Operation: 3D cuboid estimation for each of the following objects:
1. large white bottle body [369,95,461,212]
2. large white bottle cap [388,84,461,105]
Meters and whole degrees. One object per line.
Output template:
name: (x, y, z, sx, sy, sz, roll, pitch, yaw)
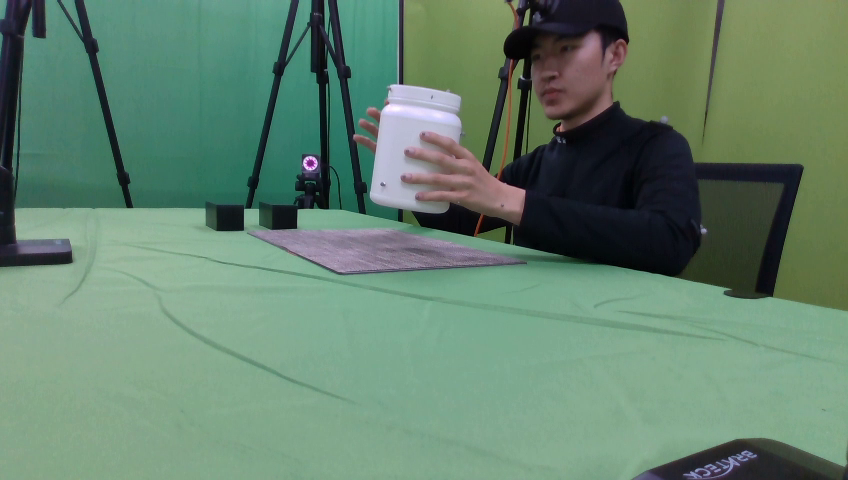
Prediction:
large white bottle body: (-0.012, -0.145, 0.962, 0.131, 0.184, 0.130, 8, 9, -1)
large white bottle cap: (0.000, -0.227, 0.949, 0.115, 0.018, 0.115, 8, 9, -1)
